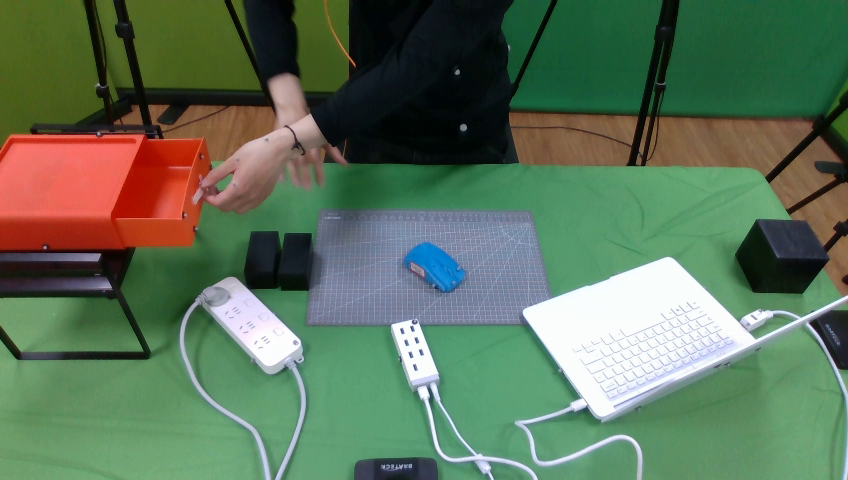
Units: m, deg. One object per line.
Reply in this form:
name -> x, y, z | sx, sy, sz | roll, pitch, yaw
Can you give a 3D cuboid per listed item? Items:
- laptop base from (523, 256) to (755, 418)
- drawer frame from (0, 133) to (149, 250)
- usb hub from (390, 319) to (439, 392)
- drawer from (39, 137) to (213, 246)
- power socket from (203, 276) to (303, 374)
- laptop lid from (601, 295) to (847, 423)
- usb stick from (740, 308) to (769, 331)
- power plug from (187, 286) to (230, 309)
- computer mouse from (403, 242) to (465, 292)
laptop base -> 0.380, 0.159, 1.077 | 0.355, 0.023, 0.234 | -17, 48, -19
drawer frame -> -0.551, -0.078, 0.942 | 0.214, 0.083, 0.200 | -1, 47, -5
usb hub -> -0.016, 0.190, 1.013 | 0.049, 0.025, 0.124 | -11, 48, -15
drawer -> -0.456, -0.080, 0.952 | 0.212, 0.073, 0.193 | -1, 47, -5
power socket -> -0.297, 0.141, 1.034 | 0.072, 0.033, 0.225 | -35, 58, -31
laptop lid -> 0.449, 0.180, 0.905 | 0.357, 0.242, 0.013 | -17, 64, -20
usb stick -> 0.587, 0.146, 1.087 | 0.059, 0.027, 0.021 | -21, 47, -17
power plug -> -0.370, 0.103, 1.039 | 0.072, 0.053, 0.035 | -26, 53, -23
computer mouse -> 0.020, 0.047, 1.141 | 0.116, 0.041, 0.063 | 35, 52, 22
